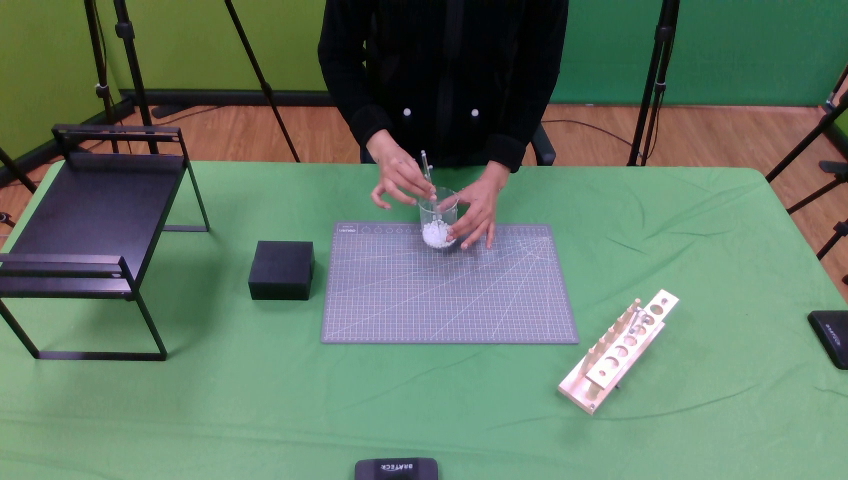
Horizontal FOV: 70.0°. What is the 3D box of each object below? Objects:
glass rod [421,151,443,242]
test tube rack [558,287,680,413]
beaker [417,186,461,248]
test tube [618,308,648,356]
[{"bbox_3d":[0.016,-0.074,1.089,0.008,0.201,0.008,-8,40,7],"label":"glass rod"},{"bbox_3d":[0.326,0.170,1.009,0.066,0.085,0.242,36,54,26],"label":"test tube rack"},{"bbox_3d":[0.031,-0.042,1.143,0.084,0.101,0.073,-17,45,-11],"label":"beaker"},{"bbox_3d":[0.326,0.155,0.955,0.017,0.151,0.017,-1,50,1],"label":"test tube"}]
